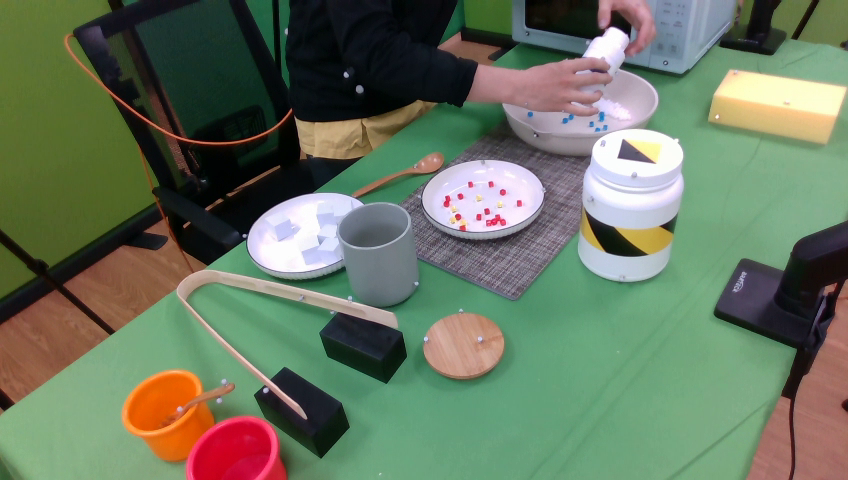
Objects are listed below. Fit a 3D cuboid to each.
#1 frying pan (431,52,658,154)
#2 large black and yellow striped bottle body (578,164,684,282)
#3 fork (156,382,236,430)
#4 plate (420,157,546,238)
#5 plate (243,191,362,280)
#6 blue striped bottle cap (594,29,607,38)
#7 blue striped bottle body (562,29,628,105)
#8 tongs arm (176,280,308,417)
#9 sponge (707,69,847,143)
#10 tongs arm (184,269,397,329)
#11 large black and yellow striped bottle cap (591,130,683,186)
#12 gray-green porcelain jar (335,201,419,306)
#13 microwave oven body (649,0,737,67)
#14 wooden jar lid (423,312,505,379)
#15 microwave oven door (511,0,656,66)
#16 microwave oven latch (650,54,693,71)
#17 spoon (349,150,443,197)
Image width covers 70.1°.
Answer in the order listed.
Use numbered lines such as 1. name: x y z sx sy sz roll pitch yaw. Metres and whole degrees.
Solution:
1. frying pan: 0.216 -0.302 1.224 0.484 0.103 0.308 29 50 24
2. large black and yellow striped bottle body: 0.292 -0.046 0.859 0.131 0.185 0.130 -4 41 4
3. fork: -0.262 0.189 0.690 0.018 0.206 0.028 48 43 -7
4. plate: 0.099 -0.067 1.017 0.209 0.038 0.208 -4 40 4
5. plate: -0.187 -0.005 0.992 0.207 0.039 0.206 -3 40 3
6. blue striped bottle cap: 0.315 -0.343 1.036 0.045 0.020 0.044 27 21 -11
7. blue striped bottle body: 0.292 -0.295 1.020 0.062 0.063 0.121 38 95 40
8. tongs arm: -0.255 0.132 0.800 0.028 0.028 0.384 -41 40 -23
9. sponge: 0.663 -0.256 1.142 0.205 0.061 0.118 18 47 28
10. tongs arm: -0.202 0.085 0.848 0.382 0.027 0.051 11 44 35
11. large black and yellow striped bottle cap: 0.282 -0.111 0.803 0.115 0.019 0.114 -3 41 3
12. gray-green porcelain jar: -0.064 0.024 0.872 0.106 0.127 0.105 -4 41 4
13. microwave oven body: 0.475 -0.602 1.411 0.438 0.261 0.327 23 50 32
14. wooden jar lid: 0.053 0.142 0.800 0.108 0.021 0.108 -5 39 4
15. microwave oven door: 0.351 -0.540 1.349 0.353 0.245 0.039 24 50 31
16. microwave oven latch: 0.531 -0.386 1.301 0.078 0.029 0.030 26 51 33
17. spoon: -0.051 -0.123 1.120 0.194 0.022 0.041 -22 60 -18
